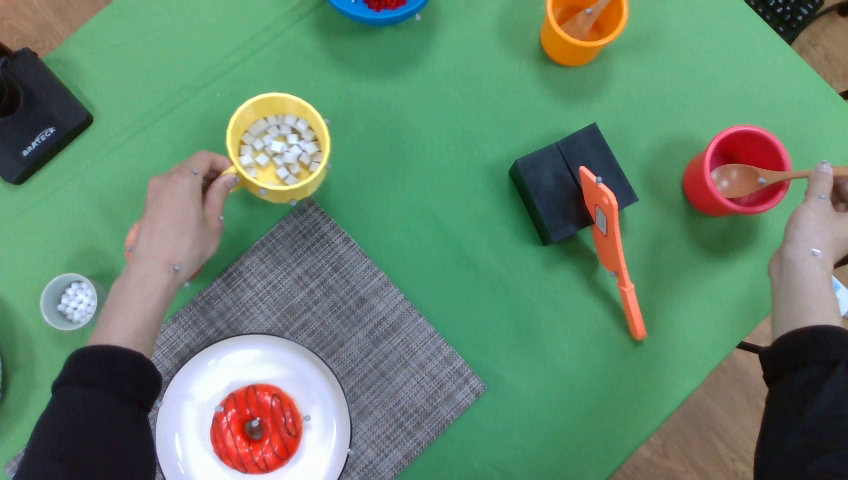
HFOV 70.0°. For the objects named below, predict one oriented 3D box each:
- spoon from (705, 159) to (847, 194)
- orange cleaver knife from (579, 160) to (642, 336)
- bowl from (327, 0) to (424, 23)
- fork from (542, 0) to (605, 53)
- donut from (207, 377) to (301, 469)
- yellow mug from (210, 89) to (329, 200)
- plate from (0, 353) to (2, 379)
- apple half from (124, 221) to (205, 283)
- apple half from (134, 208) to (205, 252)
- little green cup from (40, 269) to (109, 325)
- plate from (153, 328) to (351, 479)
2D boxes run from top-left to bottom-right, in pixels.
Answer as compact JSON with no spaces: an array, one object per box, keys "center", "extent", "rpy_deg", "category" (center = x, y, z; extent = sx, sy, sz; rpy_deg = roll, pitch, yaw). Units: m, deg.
[{"center":[0.392,-0.071,0.626],"extent":[0.022,0.192,0.041],"rpy_deg":[26,73,-38],"category":"spoon"},{"center":[0.205,0.012,0.668],"extent":[0.012,0.076,0.213],"rpy_deg":[-23,117,-2],"category":"orange cleaver knife"},{"center":[-0.054,-0.312,0.697],"extent":[0.151,0.077,0.151],"rpy_deg":[0,85,-1],"category":"bowl"},{"center":[0.213,-0.282,0.666],"extent":[0.207,0.018,0.028],"rpy_deg":[-37,82,39],"category":"fork"},{"center":[-0.181,0.196,0.648],"extent":[0.099,0.048,0.099],"rpy_deg":[0,87,-2],"category":"donut"},{"center":[-0.162,-0.088,0.623],"extent":[0.131,0.064,0.100],"rpy_deg":[-36,91,-13],"category":"yellow mug"},{"center":[-0.559,0.144,0.656],"extent":[0.208,0.039,0.207],"rpy_deg":[0,85,-1],"category":"plate"},{"center":[-0.287,0.019,0.660],"extent":[0.081,0.074,0.053],"rpy_deg":[27,88,-2],"category":"apple half"},{"center":[-0.270,-0.016,0.662],"extent":[0.081,0.081,0.033],"rpy_deg":[27,87,2],"category":"apple half"},{"center":[-0.383,0.064,0.669],"extent":[0.061,0.039,0.061],"rpy_deg":[0,84,-1],"category":"little green cup"},{"center":[-0.182,0.198,0.658],"extent":[0.209,0.038,0.208],"rpy_deg":[0,85,-2],"category":"plate"}]
